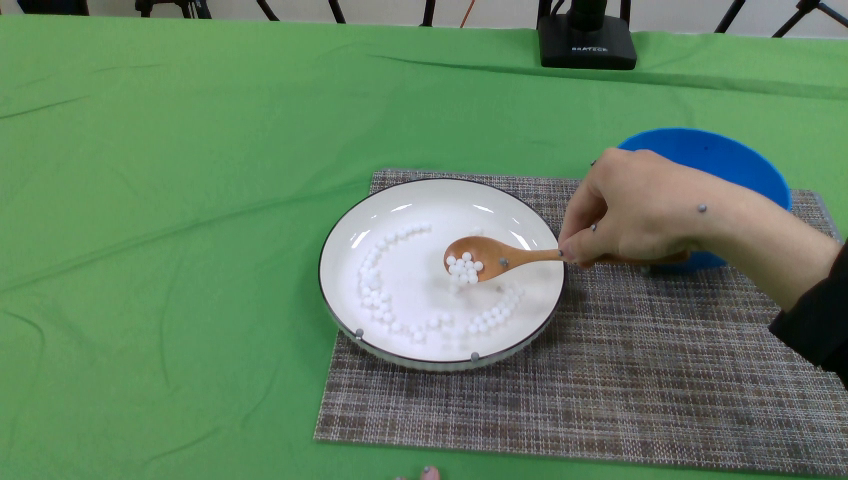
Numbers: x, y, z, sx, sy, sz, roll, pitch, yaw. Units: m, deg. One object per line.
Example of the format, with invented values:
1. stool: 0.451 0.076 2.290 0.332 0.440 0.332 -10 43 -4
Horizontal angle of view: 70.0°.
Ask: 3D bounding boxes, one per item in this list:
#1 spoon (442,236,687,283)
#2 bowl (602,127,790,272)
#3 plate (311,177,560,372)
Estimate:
1. spoon: 0.096 0.013 0.458 0.192 0.022 0.041 -3 67 39
2. bowl: 0.229 -0.025 0.540 0.151 0.077 0.150 0 47 0
3. plate: 0.010 0.027 0.522 0.208 0.039 0.205 0 47 0
